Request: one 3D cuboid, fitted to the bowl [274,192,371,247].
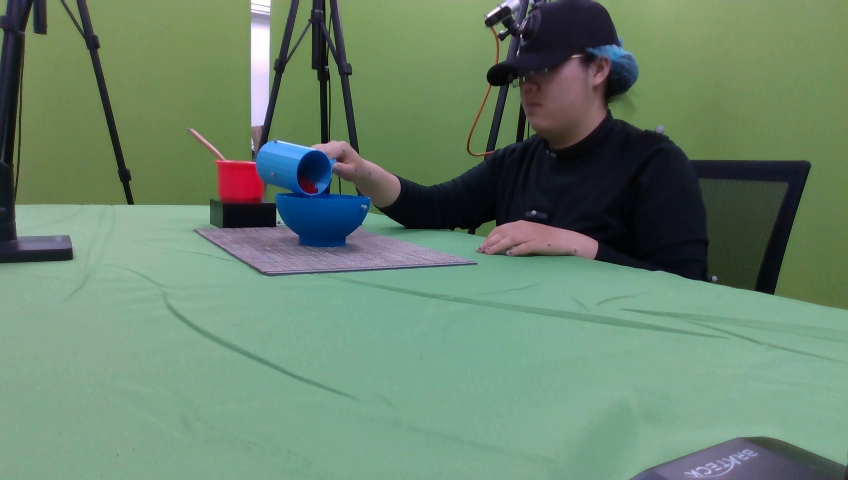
[{"bbox_3d":[-0.161,-0.032,0.959,0.151,0.077,0.151,3,7,0],"label":"bowl"}]

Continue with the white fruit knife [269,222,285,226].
[{"bbox_3d":[-0.222,-0.037,1.261,0.208,0.016,0.027,-4,-17,-32],"label":"white fruit knife"}]

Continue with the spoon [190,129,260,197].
[{"bbox_3d":[-0.388,-0.150,1.174,0.193,0.021,0.042,48,19,7],"label":"spoon"}]

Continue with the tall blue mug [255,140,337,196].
[{"bbox_3d":[-0.209,-0.131,1.015,0.107,0.078,0.107,17,55,37],"label":"tall blue mug"}]
